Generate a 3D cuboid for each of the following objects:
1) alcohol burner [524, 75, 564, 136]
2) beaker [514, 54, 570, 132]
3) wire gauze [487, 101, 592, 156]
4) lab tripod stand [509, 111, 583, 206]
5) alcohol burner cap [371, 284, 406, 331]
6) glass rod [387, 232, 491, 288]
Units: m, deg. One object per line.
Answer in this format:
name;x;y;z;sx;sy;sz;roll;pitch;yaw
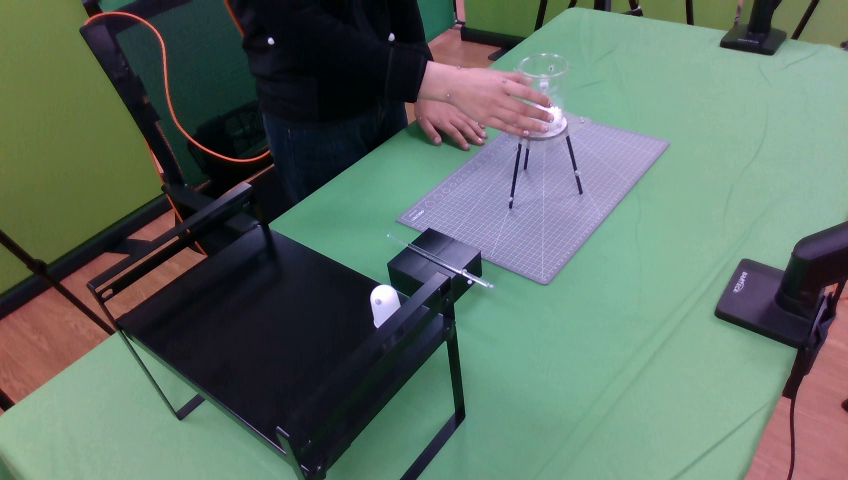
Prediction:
alcohol burner;0.232;-0.263;1.175;0.078;0.119;0.077;-6;39;5
beaker;0.183;-0.227;0.946;0.084;0.101;0.074;4;43;12
wire gauze;0.185;-0.187;0.974;0.122;0.011;0.124;-28;46;-22
lab tripod stand;0.198;-0.139;1.019;0.148;0.132;0.147;-3;39;3
alcohol burner cap;-0.037;0.065;0.608;0.034;0.048;0.033;-4;41;4
glass rod;0.017;0.027;0.878;0.198;0.008;0.008;26;51;34
